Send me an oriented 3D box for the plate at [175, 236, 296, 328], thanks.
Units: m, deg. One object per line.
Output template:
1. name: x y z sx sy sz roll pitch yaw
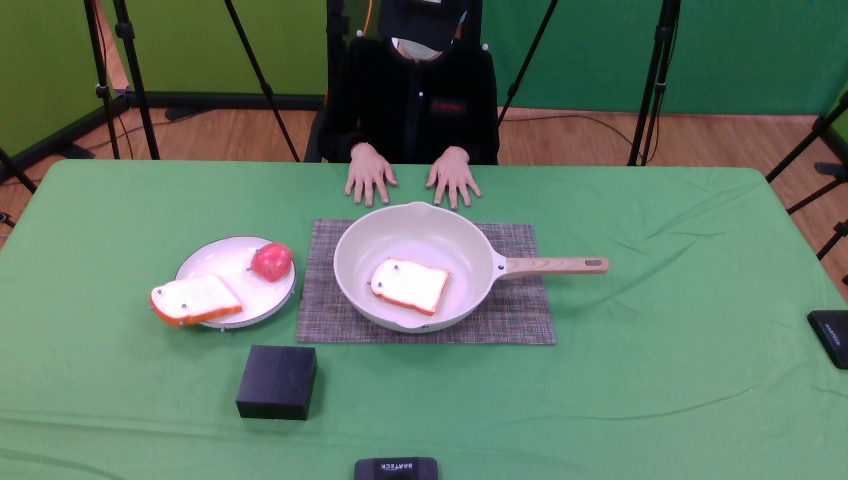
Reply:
1. plate: -0.335 0.077 1.088 0.208 0.039 0.206 2 46 -2

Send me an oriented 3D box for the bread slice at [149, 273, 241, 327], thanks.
1. bread slice: -0.392 0.102 1.030 0.132 0.019 0.104 -14 43 -45

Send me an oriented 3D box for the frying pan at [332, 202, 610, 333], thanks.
1. frying pan: 0.085 0.052 1.093 0.488 0.103 0.305 -1 46 6

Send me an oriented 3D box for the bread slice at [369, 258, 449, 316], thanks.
1. bread slice: -0.031 0.083 1.108 0.134 0.018 0.106 13 45 7

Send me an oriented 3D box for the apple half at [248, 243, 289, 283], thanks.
1. apple half: -0.287 0.035 1.107 0.081 0.033 0.081 -5 65 12
